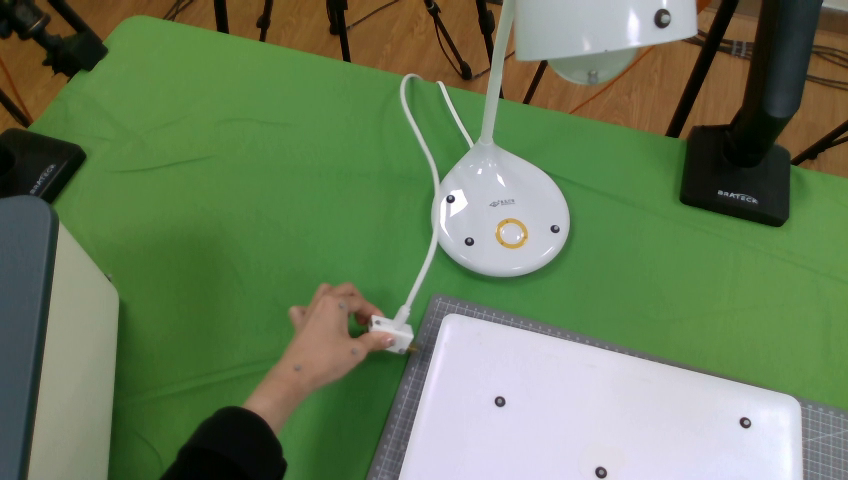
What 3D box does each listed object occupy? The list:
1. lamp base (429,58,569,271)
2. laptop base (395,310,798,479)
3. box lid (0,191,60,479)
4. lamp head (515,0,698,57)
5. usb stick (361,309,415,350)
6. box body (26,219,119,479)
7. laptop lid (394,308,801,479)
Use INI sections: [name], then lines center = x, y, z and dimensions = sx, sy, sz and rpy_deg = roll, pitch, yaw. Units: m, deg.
[lamp base]
center = 0.080, -0.084, 0.636
dimensions = 0.161, 0.182, 0.177
rpy_deg = -19, 59, -11
[laptop base]
center = 0.158, 0.210, 0.561
dimensions = 0.353, 0.023, 0.234
rpy_deg = 13, 64, 8
[box lid]
center = -0.418, 0.129, 0.442
dimensions = 0.263, 0.015, 0.368
rpy_deg = -9, 61, -5
[lamp head]
center = 0.104, -0.179, 0.369
dimensions = 0.112, 0.111, 0.123
rpy_deg = -12, 104, -6
[usb stick]
center = -0.032, 0.092, 0.609
dimensions = 0.059, 0.027, 0.021
rpy_deg = 24, 24, -24
[box body]
center = -0.418, 0.168, 0.505
dimensions = 0.254, 0.161, 0.360
rpy_deg = -9, 61, -5
[laptop lid]
center = 0.158, 0.206, 0.549
dimensions = 0.356, 0.013, 0.240
rpy_deg = 14, 64, 9
